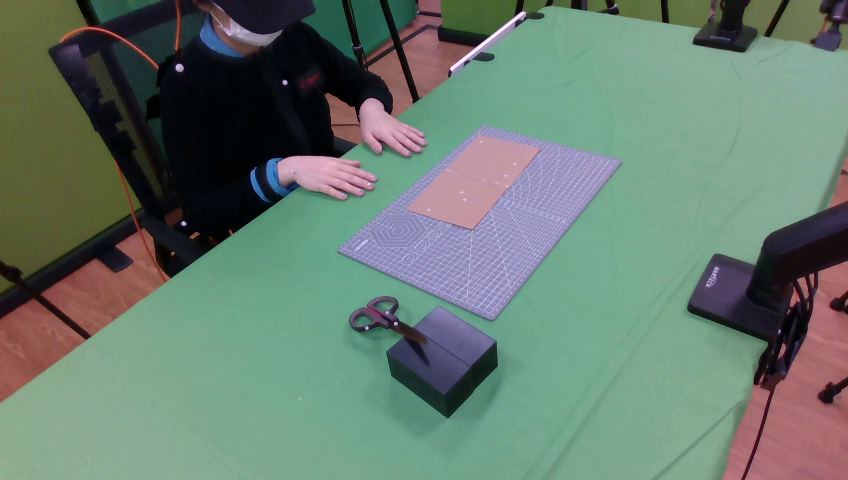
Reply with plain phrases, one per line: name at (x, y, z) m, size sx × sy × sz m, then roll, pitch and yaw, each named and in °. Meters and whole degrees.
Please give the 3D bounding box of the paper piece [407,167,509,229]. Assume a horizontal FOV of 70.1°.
paper piece at (0.059, -0.077, 1.055) m, size 0.134 × 0.004 × 0.136 m, roll 20°, pitch 48°, yaw 27°

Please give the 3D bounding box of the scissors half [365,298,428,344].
scissors half at (-0.035, 0.107, 0.808) m, size 0.040 × 0.013 × 0.174 m, roll -27°, pitch 22°, yaw -18°

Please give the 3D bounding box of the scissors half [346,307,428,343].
scissors half at (-0.051, 0.115, 0.799) m, size 0.040 × 0.013 × 0.174 m, roll -28°, pitch 23°, yaw -36°

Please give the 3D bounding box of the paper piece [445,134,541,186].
paper piece at (0.130, -0.154, 1.137) m, size 0.135 × 0.009 × 0.138 m, roll 22°, pitch 48°, yaw 25°
